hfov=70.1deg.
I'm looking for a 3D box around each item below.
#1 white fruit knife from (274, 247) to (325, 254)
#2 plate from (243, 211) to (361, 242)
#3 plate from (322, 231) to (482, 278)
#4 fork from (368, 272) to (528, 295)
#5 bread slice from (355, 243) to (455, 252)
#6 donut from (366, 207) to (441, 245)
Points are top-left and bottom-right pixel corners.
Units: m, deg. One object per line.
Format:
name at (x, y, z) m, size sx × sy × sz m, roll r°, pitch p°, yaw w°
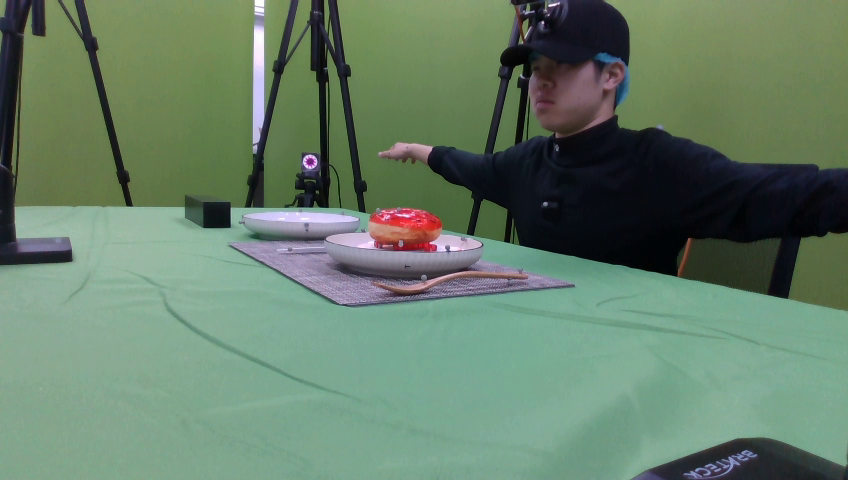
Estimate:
white fruit knife at (-0.118, 0.013, 0.899) m, size 0.208 × 0.016 × 0.027 m, roll -3°, pitch -20°, yaw -27°
plate at (-0.219, -0.025, 1.092) m, size 0.208 × 0.039 × 0.207 m, roll 3°, pitch 7°, yaw 0°
plate at (-0.028, 0.018, 0.789) m, size 0.209 × 0.038 × 0.209 m, roll 3°, pitch 7°, yaw 0°
fork at (0.034, 0.046, 0.661) m, size 0.208 × 0.018 × 0.028 m, roll -4°, pitch 2°, yaw -33°
bread slice at (-0.027, 0.020, 0.794) m, size 0.131 × 0.019 × 0.105 m, roll 6°, pitch 7°, yaw 17°
donut at (-0.027, -0.017, 0.786) m, size 0.099 × 0.048 × 0.099 m, roll 2°, pitch 7°, yaw 0°
